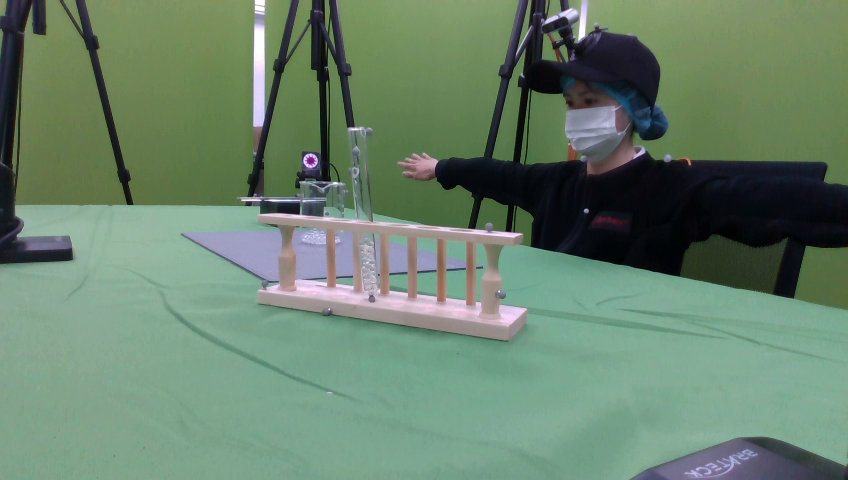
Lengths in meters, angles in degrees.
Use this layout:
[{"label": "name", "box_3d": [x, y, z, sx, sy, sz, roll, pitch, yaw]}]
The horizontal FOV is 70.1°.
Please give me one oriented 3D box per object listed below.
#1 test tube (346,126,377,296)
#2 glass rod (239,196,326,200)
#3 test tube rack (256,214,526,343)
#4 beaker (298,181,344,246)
[{"label": "test tube", "box_3d": [-0.054, -0.023, 0.529, 0.017, 0.150, 0.017, -3, 12, 1]}, {"label": "glass rod", "box_3d": [-0.287, -0.087, 1.250, 0.201, 0.008, 0.008, -4, 10, -42]}, {"label": "test tube rack", "box_3d": [-0.032, 0.027, 0.547, 0.241, 0.085, 0.067, 5, 7, 22]}, {"label": "beaker", "box_3d": [-0.166, -0.043, 0.972, 0.074, 0.100, 0.084, 1, 8, -10]}]
